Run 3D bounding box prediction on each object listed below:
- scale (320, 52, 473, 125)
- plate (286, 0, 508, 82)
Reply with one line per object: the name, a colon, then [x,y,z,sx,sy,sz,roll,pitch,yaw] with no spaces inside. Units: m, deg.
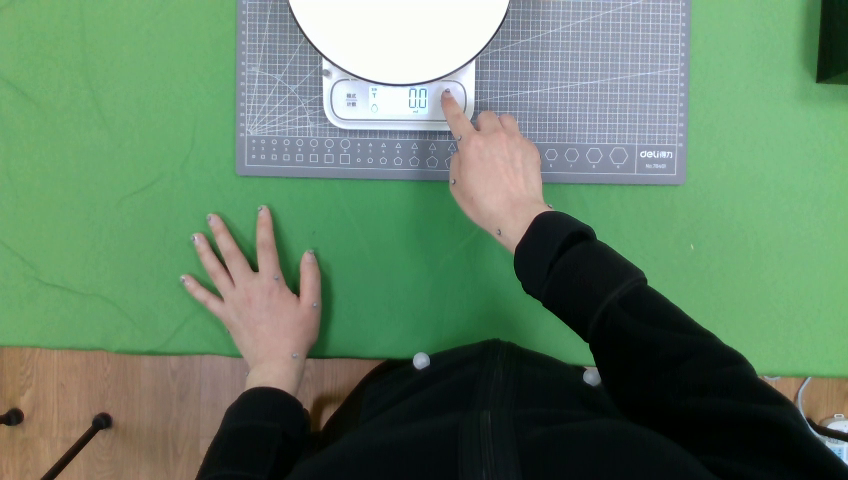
scale: [-0.026,-0.215,0.587,0.149,0.031,0.201,1,92,-1]
plate: [-0.024,-0.245,0.553,0.209,0.038,0.209,0,92,-2]
